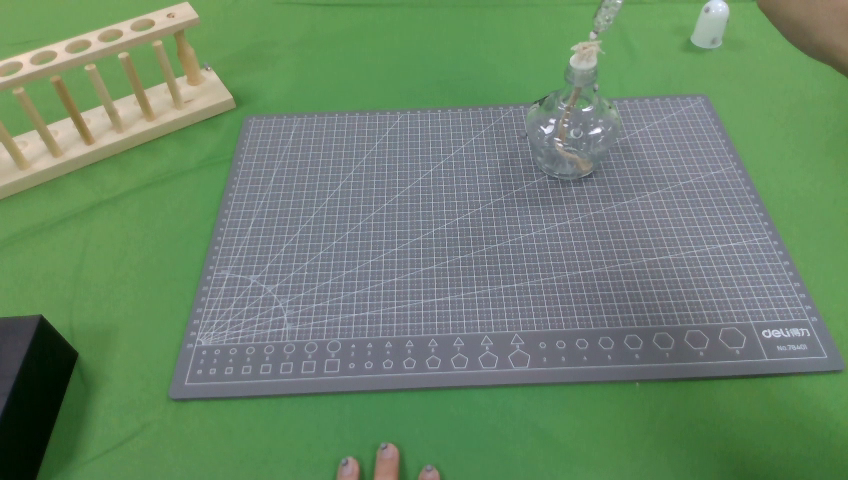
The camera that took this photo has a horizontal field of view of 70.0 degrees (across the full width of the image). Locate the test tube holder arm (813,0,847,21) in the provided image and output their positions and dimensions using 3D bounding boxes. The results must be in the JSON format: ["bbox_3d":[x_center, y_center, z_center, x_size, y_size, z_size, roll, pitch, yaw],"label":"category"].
[{"bbox_3d":[0.203,-0.166,0.359,0.177,0.015,0.013,39,55,14],"label":"test tube holder arm"}]

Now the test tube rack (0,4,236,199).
[{"bbox_3d":[-0.309,-0.127,0.554,0.242,0.086,0.066,-27,54,-19],"label":"test tube rack"}]

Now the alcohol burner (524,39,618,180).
[{"bbox_3d":[0.122,-0.108,0.495,0.078,0.120,0.077,-1,48,2],"label":"alcohol burner"}]

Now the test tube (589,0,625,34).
[{"bbox_3d":[0.145,-0.197,0.383,0.017,0.151,0.017,10,51,-12],"label":"test tube"}]

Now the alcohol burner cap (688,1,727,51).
[{"bbox_3d":[0.301,-0.227,0.637,0.034,0.048,0.033,-2,50,3],"label":"alcohol burner cap"}]
